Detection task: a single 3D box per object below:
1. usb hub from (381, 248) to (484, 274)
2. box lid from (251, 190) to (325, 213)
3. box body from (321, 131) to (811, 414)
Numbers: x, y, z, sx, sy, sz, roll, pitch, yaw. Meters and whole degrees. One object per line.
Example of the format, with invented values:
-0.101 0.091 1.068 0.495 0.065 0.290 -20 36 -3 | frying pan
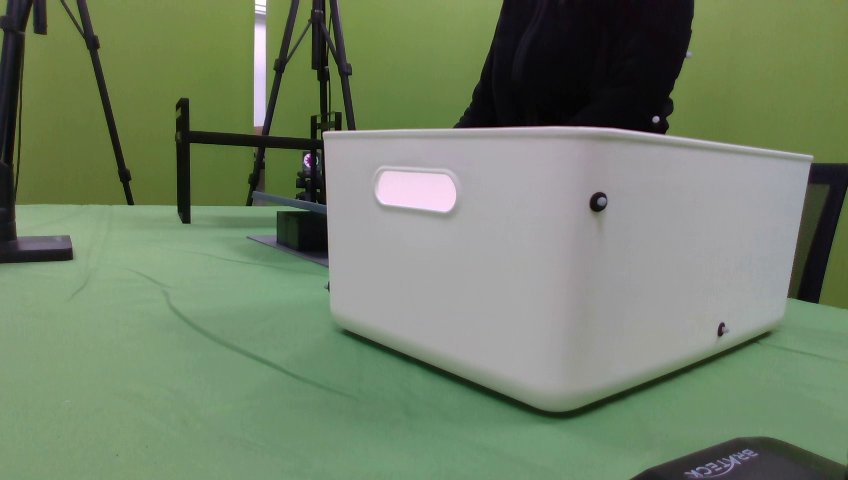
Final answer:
0.011 0.026 0.775 0.126 0.025 0.049 0 7 -26 | usb hub
-0.065 -0.029 0.972 0.374 0.015 0.262 11 2 -34 | box lid
0.124 0.000 0.510 0.366 0.160 0.253 -4 10 -42 | box body
